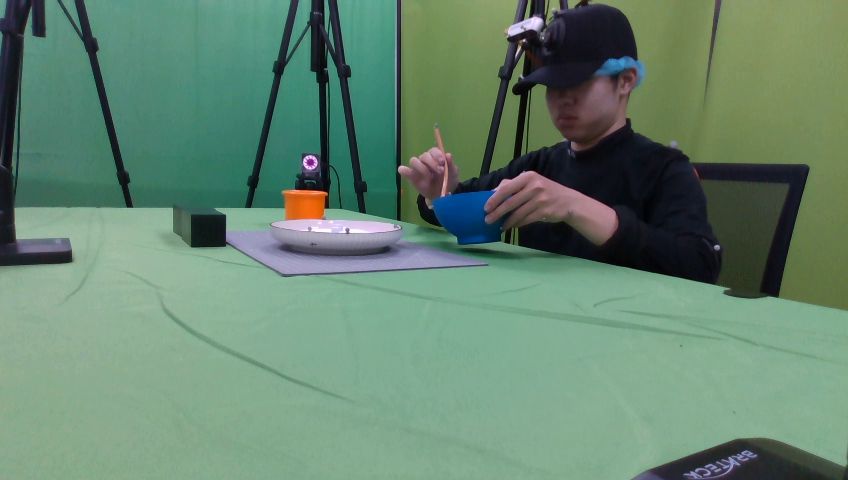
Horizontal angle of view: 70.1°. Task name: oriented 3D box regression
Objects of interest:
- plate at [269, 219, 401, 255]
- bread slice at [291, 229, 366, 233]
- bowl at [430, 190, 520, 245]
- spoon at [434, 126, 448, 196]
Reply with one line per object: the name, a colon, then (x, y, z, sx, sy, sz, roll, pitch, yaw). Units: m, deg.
plate: (-0.140, -0.006, 0.958, 0.209, 0.038, 0.209, 3, 7, 0)
bread slice: (-0.143, -0.003, 0.953, 0.135, 0.018, 0.106, -1, 8, -37)
bowl: (0.088, -0.034, 1.009, 0.151, 0.076, 0.151, -5, -4, 0)
spoon: (0.034, -0.117, 1.047, 0.021, 0.193, 0.042, -8, -26, 10)
